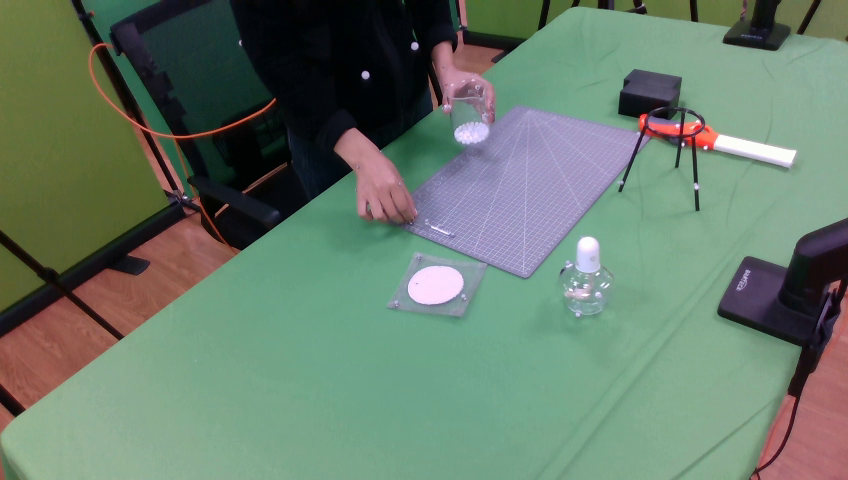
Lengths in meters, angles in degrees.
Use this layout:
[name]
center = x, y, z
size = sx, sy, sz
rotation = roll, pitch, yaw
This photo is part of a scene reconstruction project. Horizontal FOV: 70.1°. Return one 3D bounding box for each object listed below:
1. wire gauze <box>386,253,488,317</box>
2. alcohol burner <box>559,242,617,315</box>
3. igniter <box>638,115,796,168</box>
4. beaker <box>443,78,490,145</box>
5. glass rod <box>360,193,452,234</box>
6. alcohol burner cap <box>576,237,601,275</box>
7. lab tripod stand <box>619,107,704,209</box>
[wire gauze]
center = 0.021, 0.067, 0.910
size = 0.121, 0.011, 0.125
rotation = 9, 41, 20
[alcohol burner]
center = 0.222, 0.045, 0.816
size = 0.078, 0.119, 0.077
rotation = -4, 42, 4
[igniter]
center = 0.517, -0.181, 1.093
size = 0.274, 0.025, 0.057
rotation = 23, 65, 32
[beaker]
center = 0.083, -0.231, 1.098
size = 0.074, 0.101, 0.083
rotation = -37, 46, -26
[glass rod]
center = -0.034, -0.047, 1.037
size = 0.198, 0.008, 0.008
rotation = 24, 51, 28
[alcohol burner cap]
center = 0.216, 0.018, 0.793
size = 0.034, 0.048, 0.033
rotation = -7, 35, 6
[lab tripod stand]
center = 0.400, -0.136, 0.980
size = 0.148, 0.132, 0.147
rotation = -4, 41, 4
